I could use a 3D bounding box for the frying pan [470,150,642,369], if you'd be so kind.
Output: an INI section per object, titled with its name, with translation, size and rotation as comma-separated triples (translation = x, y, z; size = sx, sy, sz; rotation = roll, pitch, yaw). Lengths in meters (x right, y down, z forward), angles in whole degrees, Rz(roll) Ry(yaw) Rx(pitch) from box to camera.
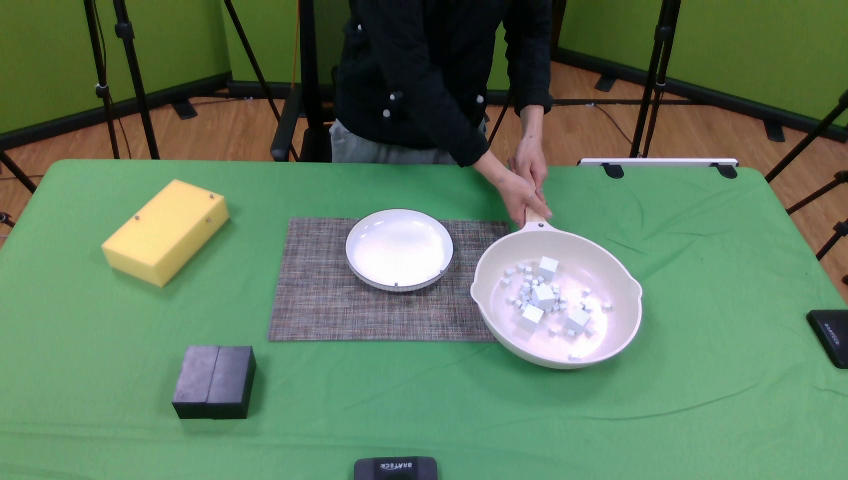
[frying pan]
translation = 0.220, 0.018, 1.128
size = 0.307, 0.103, 0.485
rotation = 0, 57, -8

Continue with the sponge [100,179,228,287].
[sponge]
translation = -0.486, -0.018, 1.151
size = 0.118, 0.061, 0.206
rotation = 19, 47, 12

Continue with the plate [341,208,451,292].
[plate]
translation = -0.053, 0.022, 1.156
size = 0.208, 0.039, 0.206
rotation = 2, 46, -2
